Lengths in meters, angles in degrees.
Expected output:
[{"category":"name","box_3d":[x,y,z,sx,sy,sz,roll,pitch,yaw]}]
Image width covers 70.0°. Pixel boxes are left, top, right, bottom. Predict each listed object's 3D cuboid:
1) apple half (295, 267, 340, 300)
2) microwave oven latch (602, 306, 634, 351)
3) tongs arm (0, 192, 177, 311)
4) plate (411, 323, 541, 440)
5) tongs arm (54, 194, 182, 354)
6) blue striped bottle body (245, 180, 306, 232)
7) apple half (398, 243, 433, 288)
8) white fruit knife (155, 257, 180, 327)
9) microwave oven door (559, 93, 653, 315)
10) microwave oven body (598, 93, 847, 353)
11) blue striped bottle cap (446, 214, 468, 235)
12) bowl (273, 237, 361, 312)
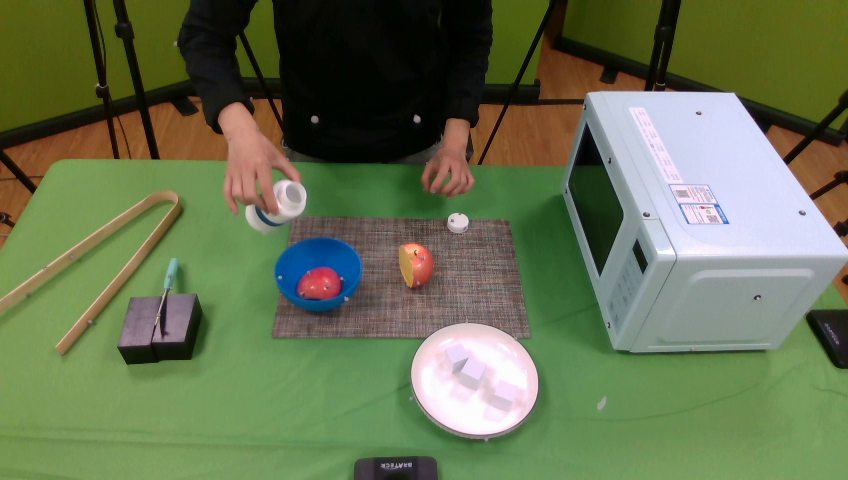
[{"category":"apple half","box_3d":[-0.187,0.071,1.067,0.081,0.033,0.081,3,46,-3]},{"category":"microwave oven latch","box_3d":[0.332,0.153,1.044,0.030,0.029,0.078,-1,45,-4]},{"category":"tongs arm","box_3d":[-0.618,0.019,1.124,0.050,0.026,0.384,24,47,16]},{"category":"plate","box_3d":[0.082,0.228,0.976,0.208,0.039,0.206,2,45,-2]},{"category":"tongs arm","box_3d":[-0.543,0.048,1.107,0.028,0.028,0.385,11,45,10]},{"category":"blue striped bottle body","box_3d":[-0.241,-0.058,0.998,0.063,0.121,0.063,16,65,-38]},{"category":"apple half","box_3d":[-0.012,0.046,1.115,0.053,0.075,0.080,-11,44,-19]},{"category":"white fruit knife","box_3d":[-0.440,0.085,1.037,0.016,0.027,0.206,10,26,-19]},{"category":"microwave oven door","box_3d":[0.327,-0.074,1.123,0.039,0.245,0.353,-1,46,-5]},{"category":"microwave oven body","box_3d":[0.475,-0.041,1.109,0.326,0.261,0.438,-1,45,-4]},{"category":"blue striped bottle cap","box_3d":[0.068,-0.033,1.239,0.044,0.021,0.044,1,46,0]},{"category":"bowl","box_3d":[-0.185,0.074,1.069,0.151,0.077,0.150,3,46,-3]}]
